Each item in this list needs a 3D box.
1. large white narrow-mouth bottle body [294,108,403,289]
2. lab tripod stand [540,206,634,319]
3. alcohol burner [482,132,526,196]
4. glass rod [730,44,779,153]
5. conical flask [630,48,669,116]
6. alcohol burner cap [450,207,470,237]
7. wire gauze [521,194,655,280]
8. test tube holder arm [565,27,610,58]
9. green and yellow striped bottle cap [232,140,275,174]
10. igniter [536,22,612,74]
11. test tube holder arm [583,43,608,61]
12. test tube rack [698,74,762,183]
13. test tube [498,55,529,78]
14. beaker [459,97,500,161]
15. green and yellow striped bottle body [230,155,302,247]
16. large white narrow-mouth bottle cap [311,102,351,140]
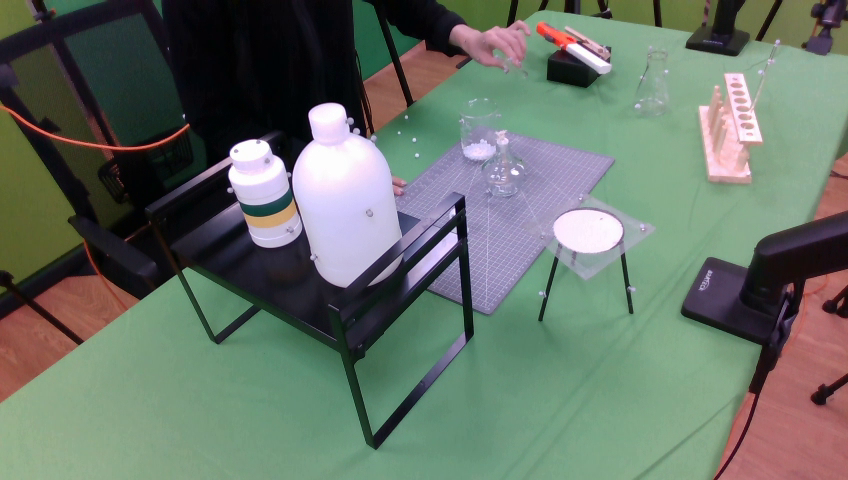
[{"bbox_3d":[-0.082,-0.047,0.634,0.102,0.195,0.101,-4,40,4],"label":"large white narrow-mouth bottle body"},{"bbox_3d":[0.218,0.034,0.821,0.148,0.132,0.147,-4,42,4],"label":"lab tripod stand"},{"bbox_3d":[0.137,-0.136,1.042,0.078,0.119,0.077,-4,43,4],"label":"alcohol burner"},{"bbox_3d":[0.555,-0.233,1.020,0.008,0.200,0.008,2,40,-1],"label":"glass rod"},{"bbox_3d":[0.456,-0.317,1.205,0.075,0.122,0.075,-4,41,4],"label":"conical flask"},{"bbox_3d":[0.057,-0.032,0.987,0.034,0.048,0.033,-4,41,4],"label":"alcohol burner cap"},{"bbox_3d":[0.207,-0.012,0.772,0.122,0.011,0.124,-28,44,-20],"label":"wire gauze"},{"bbox_3d":[0.369,-0.450,1.373,0.013,0.015,0.177,-39,41,10],"label":"test tube holder arm"},{"bbox_3d":[-0.192,-0.094,0.680,0.045,0.020,0.045,-5,39,5],"label":"green and yellow striped bottle cap"},{"bbox_3d":[0.330,-0.439,1.366,0.057,0.025,0.274,-11,41,-20],"label":"igniter"},{"bbox_3d":[0.379,-0.420,1.341,0.010,0.015,0.087,-39,41,10],"label":"test tube holder arm"},{"bbox_3d":[0.547,-0.208,1.095,0.066,0.085,0.242,5,42,15],"label":"test tube rack"},{"bbox_3d":[0.167,-0.318,1.116,0.017,0.017,0.151,15,10,24],"label":"test tube"},{"bbox_3d":[0.104,-0.208,1.142,0.074,0.101,0.083,-20,42,-15],"label":"beaker"},{"bbox_3d":[-0.188,-0.055,0.714,0.063,0.120,0.063,-4,41,4],"label":"green and yellow striped bottle body"},{"bbox_3d":[-0.089,-0.114,0.579,0.038,0.024,0.037,-3,40,3],"label":"large white narrow-mouth bottle cap"}]
